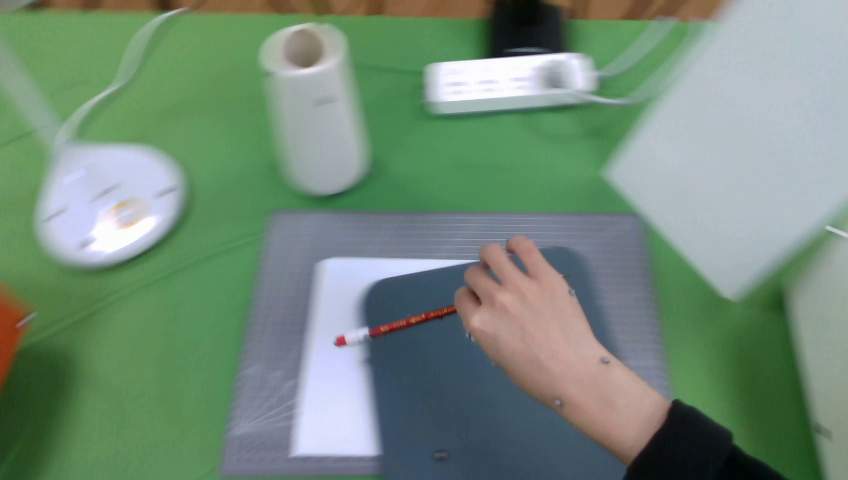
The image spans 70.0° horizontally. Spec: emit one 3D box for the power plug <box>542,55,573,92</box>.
[{"bbox_3d":[0.169,-0.205,0.778,0.035,0.053,0.072,5,63,3],"label":"power plug"}]

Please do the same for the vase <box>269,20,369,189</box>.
[{"bbox_3d":[-0.117,-0.144,0.676,0.098,0.201,0.097,-1,61,1],"label":"vase"}]

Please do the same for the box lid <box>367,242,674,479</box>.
[{"bbox_3d":[0.094,0.176,0.608,0.263,0.015,0.368,-10,63,-6],"label":"box lid"}]

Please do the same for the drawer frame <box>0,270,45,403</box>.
[{"bbox_3d":[-0.504,0.121,0.550,0.213,0.083,0.200,5,62,1],"label":"drawer frame"}]

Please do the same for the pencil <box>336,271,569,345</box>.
[{"bbox_3d":[0.021,0.053,0.481,0.194,0.012,0.012,-17,61,6],"label":"pencil"}]

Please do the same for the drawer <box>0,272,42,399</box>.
[{"bbox_3d":[-0.498,0.119,0.549,0.212,0.074,0.193,5,62,3],"label":"drawer"}]

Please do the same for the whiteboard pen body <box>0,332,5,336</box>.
[{"bbox_3d":[-0.478,0.099,0.584,0.141,0.017,0.017,-6,61,-6],"label":"whiteboard pen body"}]

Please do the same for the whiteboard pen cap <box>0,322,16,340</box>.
[{"bbox_3d":[-0.418,0.091,0.589,0.033,0.018,0.018,-9,61,3],"label":"whiteboard pen cap"}]

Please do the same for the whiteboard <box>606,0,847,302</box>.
[{"bbox_3d":[0.383,-0.121,0.639,0.144,0.307,0.215,-20,61,-32],"label":"whiteboard"}]

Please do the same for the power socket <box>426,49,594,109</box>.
[{"bbox_3d":[0.116,-0.216,0.810,0.227,0.033,0.071,-4,62,-3],"label":"power socket"}]

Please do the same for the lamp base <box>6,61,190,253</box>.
[{"bbox_3d":[-0.374,-0.099,0.661,0.178,0.182,0.160,31,65,19],"label":"lamp base"}]

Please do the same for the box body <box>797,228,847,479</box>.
[{"bbox_3d":[0.517,0.157,0.535,0.254,0.161,0.361,4,61,2],"label":"box body"}]

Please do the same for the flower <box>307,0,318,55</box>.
[{"bbox_3d":[-0.111,-0.200,0.613,0.038,0.365,0.043,-9,43,-13],"label":"flower"}]
